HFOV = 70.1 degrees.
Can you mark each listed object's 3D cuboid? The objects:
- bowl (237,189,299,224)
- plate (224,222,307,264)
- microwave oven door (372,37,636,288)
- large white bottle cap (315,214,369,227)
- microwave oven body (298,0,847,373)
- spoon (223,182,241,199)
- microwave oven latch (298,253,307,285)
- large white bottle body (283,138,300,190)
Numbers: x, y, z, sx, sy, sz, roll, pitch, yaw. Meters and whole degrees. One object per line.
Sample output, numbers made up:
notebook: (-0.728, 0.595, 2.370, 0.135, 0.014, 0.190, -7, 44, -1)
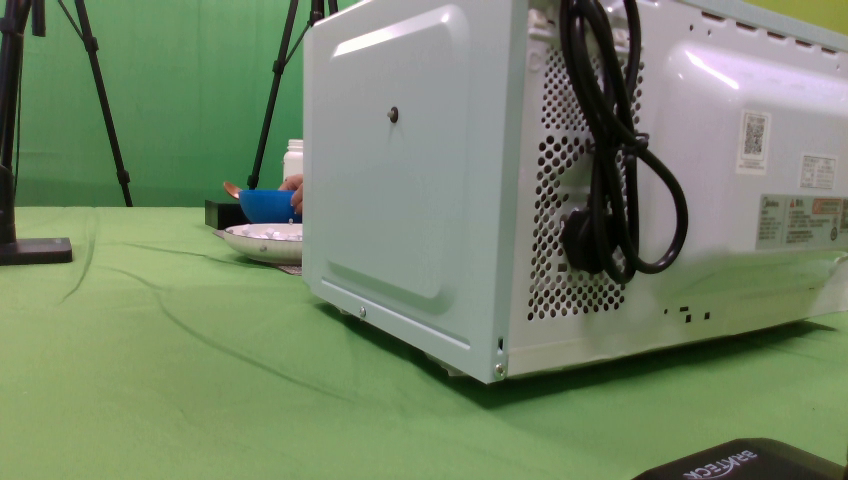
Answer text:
bowl: (-0.247, -0.046, 1.055, 0.151, 0.077, 0.151, 3, 8, 0)
plate: (-0.171, 0.004, 0.849, 0.209, 0.038, 0.209, 2, 7, 0)
microwave oven door: (0.110, -0.080, 0.686, 0.358, 0.243, 0.039, -2, 9, -33)
large white bottle cap: (-0.177, -0.042, 1.308, 0.115, 0.018, 0.115, 4, 7, 0)
microwave oven body: (0.151, -0.055, 0.542, 0.444, 0.260, 0.324, -2, 7, -33)
spoon: (-0.317, -0.076, 1.232, 0.195, 0.021, 0.041, 19, 26, -29)
microwave oven latch: (-0.081, 0.027, 0.582, 0.079, 0.029, 0.030, -1, 7, -32)
large white bottle body: (-0.265, -0.143, 1.423, 0.131, 0.184, 0.130, 2, 7, 0)
